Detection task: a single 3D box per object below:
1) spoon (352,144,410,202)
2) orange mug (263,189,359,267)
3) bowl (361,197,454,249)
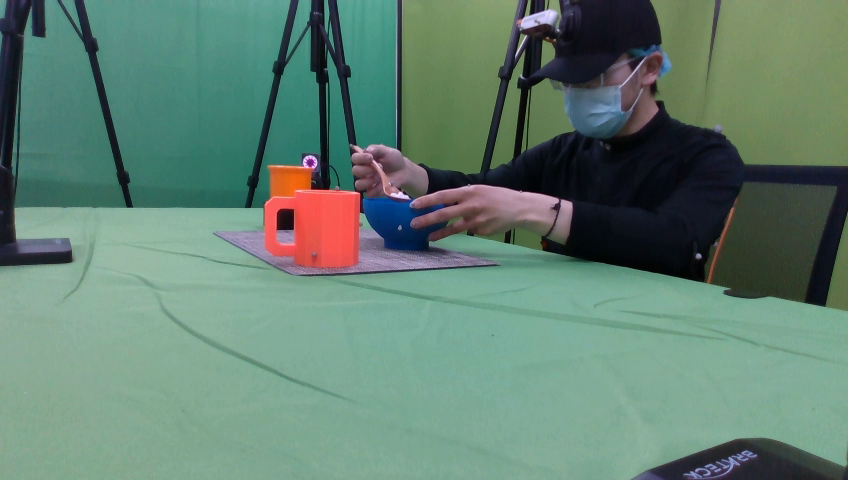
[{"bbox_3d":[-0.077,-0.117,1.022,0.042,0.021,0.193,4,36,-38],"label":"spoon"},{"bbox_3d":[-0.147,-0.019,0.794,0.127,0.100,0.083,5,6,-19],"label":"orange mug"},{"bbox_3d":[-0.028,-0.028,0.989,0.151,0.077,0.151,2,7,0],"label":"bowl"}]
